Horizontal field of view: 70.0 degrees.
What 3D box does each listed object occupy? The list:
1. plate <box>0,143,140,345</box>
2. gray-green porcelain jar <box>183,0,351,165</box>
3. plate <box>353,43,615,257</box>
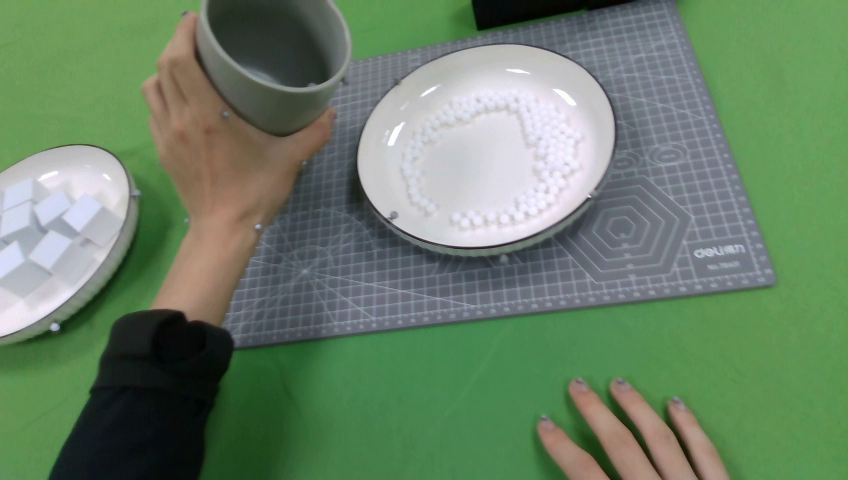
[{"bbox_3d":[-0.352,0.003,0.557,0.207,0.039,0.205,-7,58,11],"label":"plate"},{"bbox_3d":[-0.128,-0.126,0.473,0.106,0.126,0.105,11,65,-24],"label":"gray-green porcelain jar"},{"bbox_3d":[0.046,-0.074,0.492,0.209,0.038,0.207,-7,58,11],"label":"plate"}]
